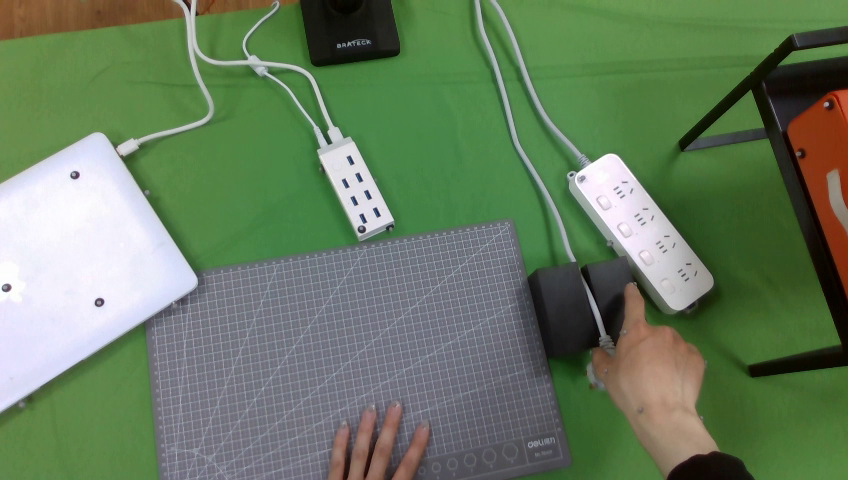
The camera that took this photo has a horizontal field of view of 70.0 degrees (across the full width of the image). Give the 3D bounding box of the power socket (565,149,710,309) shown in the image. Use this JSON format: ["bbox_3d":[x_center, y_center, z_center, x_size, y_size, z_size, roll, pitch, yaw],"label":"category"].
[{"bbox_3d":[0.266,-0.015,0.758,0.072,0.033,0.225,-32,79,-12],"label":"power socket"}]

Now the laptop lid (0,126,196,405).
[{"bbox_3d":[-0.468,0.047,0.679,0.357,0.013,0.241,-32,82,-11],"label":"laptop lid"}]

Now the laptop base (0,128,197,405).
[{"bbox_3d":[-0.470,0.049,0.692,0.354,0.023,0.235,-34,83,-11],"label":"laptop base"}]

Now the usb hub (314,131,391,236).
[{"bbox_3d":[-0.089,-0.070,0.748,0.049,0.025,0.124,-25,79,-10],"label":"usb hub"}]

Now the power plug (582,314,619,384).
[{"bbox_3d":[0.201,0.129,0.692,0.035,0.053,0.072,20,57,-14],"label":"power plug"}]

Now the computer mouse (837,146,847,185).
[{"bbox_3d":[0.454,-0.048,0.586,0.063,0.041,0.116,-14,75,-4],"label":"computer mouse"}]

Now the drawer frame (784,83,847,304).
[{"bbox_3d":[0.487,-0.056,0.575,0.214,0.083,0.200,-11,76,-8],"label":"drawer frame"}]

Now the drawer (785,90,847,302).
[{"bbox_3d":[0.483,-0.054,0.575,0.212,0.073,0.193,-10,76,-7],"label":"drawer"}]
